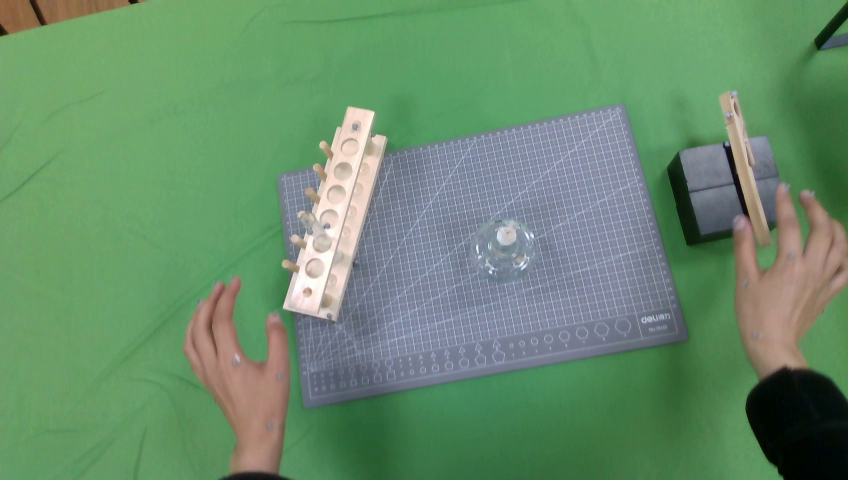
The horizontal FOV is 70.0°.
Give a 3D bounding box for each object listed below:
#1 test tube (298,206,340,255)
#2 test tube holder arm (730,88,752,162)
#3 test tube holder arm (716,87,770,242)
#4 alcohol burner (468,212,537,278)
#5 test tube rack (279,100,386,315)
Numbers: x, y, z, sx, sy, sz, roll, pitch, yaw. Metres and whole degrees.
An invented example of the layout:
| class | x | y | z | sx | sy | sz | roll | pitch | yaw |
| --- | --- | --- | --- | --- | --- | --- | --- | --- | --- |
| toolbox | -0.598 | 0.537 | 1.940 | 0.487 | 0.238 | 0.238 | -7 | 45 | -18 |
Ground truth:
| class | x | y | z | sx | sy | sz | roll | pitch | yaw |
| --- | --- | --- | --- | --- | --- | --- | --- | --- | --- |
| test tube | -0.112 | -0.007 | 0.661 | 0.017 | 0.151 | 0.017 | -1 | 75 | 3 |
| test tube holder arm | 0.350 | -0.128 | 0.679 | 0.010 | 0.015 | 0.087 | 2 | 75 | -28 |
| test tube holder arm | 0.350 | -0.085 | 0.666 | 0.013 | 0.015 | 0.177 | 0 | 75 | -28 |
| alcohol burner | 0.088 | 0.001 | 0.675 | 0.078 | 0.120 | 0.077 | -1 | 76 | 5 |
| test tube rack | -0.115 | -0.039 | 0.720 | 0.066 | 0.085 | 0.241 | 13 | 79 | 10 |
